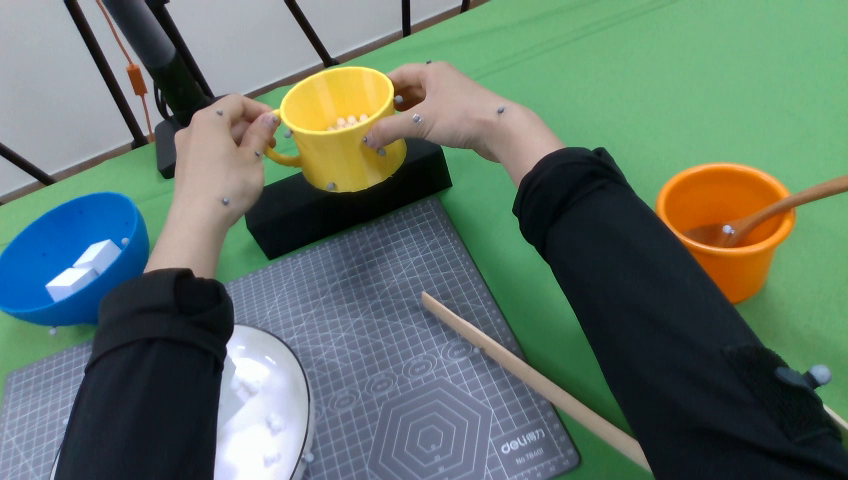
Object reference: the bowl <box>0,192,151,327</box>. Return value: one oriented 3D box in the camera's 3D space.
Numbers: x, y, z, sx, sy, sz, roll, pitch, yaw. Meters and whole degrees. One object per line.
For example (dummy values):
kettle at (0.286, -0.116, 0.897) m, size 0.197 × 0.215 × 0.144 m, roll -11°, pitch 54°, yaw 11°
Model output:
bowl at (-0.331, 0.033, 0.601) m, size 0.151 × 0.077 × 0.150 m, roll -9°, pitch 48°, yaw 11°

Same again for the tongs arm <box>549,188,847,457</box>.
tongs arm at (0.199, 0.080, 0.423) m, size 0.051 × 0.027 × 0.380 m, roll -32°, pitch 50°, yaw -13°

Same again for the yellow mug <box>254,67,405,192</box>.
yellow mug at (-0.086, -0.097, 0.540) m, size 0.131 × 0.064 × 0.099 m, roll -11°, pitch 46°, yaw 2°

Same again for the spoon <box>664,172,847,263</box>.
spoon at (0.248, -0.022, 0.417) m, size 0.022 × 0.194 × 0.041 m, roll 37°, pitch 58°, yaw -11°

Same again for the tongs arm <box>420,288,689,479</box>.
tongs arm at (0.136, 0.128, 0.402) m, size 0.384 × 0.028 × 0.028 m, roll 31°, pitch 60°, yaw 34°

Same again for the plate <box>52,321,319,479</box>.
plate at (-0.176, 0.158, 0.463) m, size 0.207 × 0.039 × 0.205 m, roll -9°, pitch 47°, yaw 10°
